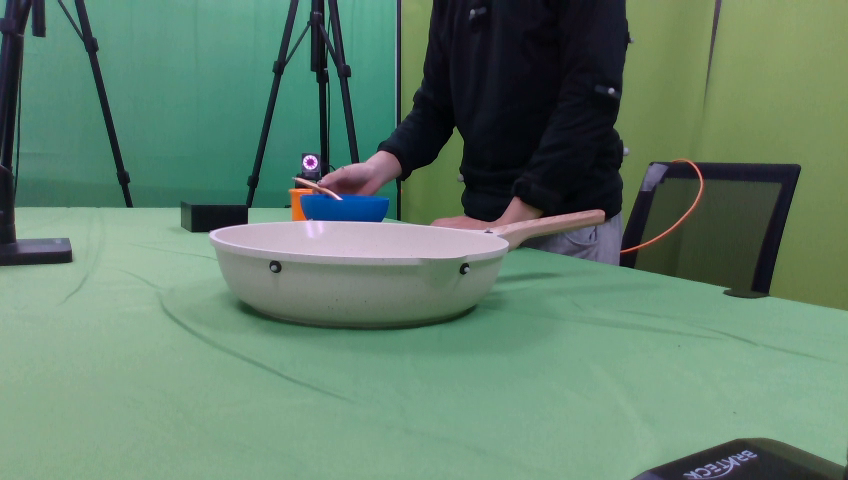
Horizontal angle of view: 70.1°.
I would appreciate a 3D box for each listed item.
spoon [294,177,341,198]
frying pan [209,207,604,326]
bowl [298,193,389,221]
[{"bbox_3d":[-0.164,-0.079,1.065,0.193,0.021,0.042,31,28,31],"label":"spoon"},{"bbox_3d":[0.026,0.005,0.665,0.490,0.102,0.305,-12,14,-30],"label":"frying pan"},{"bbox_3d":[-0.135,-0.036,1.018,0.151,0.077,0.151,2,7,0],"label":"bowl"}]
